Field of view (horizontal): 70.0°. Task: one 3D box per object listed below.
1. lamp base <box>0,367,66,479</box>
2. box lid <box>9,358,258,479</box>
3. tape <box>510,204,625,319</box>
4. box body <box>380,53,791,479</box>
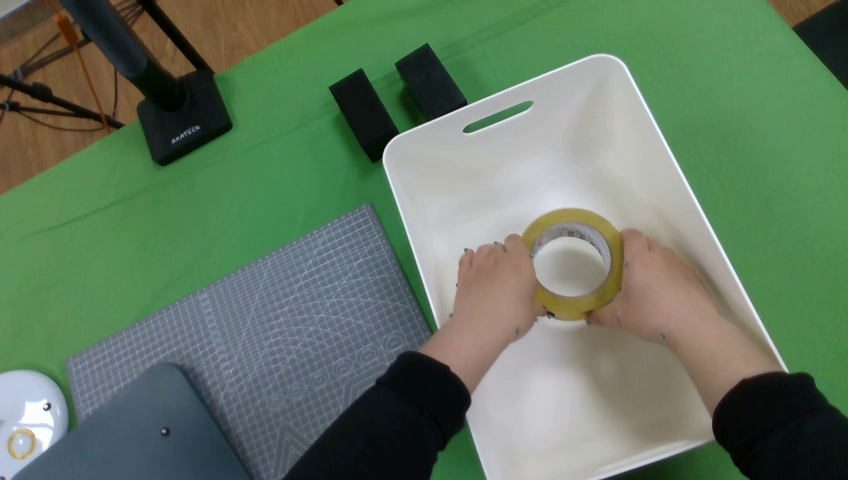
[{"bbox_3d":[-0.552,0.215,0.694,0.178,0.182,0.160,10,74,18],"label":"lamp base"},{"bbox_3d":[-0.300,0.344,0.682,0.263,0.015,0.369,-40,72,-4],"label":"box lid"},{"bbox_3d":[0.149,0.022,0.633,0.117,0.053,0.116,-2,74,8],"label":"tape"},{"bbox_3d":[0.137,0.036,0.612,0.254,0.161,0.361,-21,69,5],"label":"box body"}]
